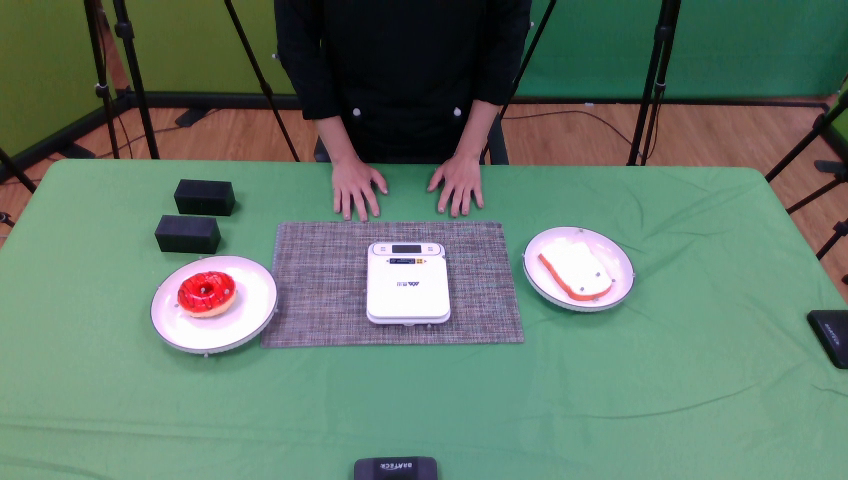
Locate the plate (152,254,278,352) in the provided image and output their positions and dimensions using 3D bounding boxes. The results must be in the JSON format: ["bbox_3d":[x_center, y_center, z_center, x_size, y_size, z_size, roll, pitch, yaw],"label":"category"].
[{"bbox_3d":[-0.357,0.111,1.052,0.208,0.039,0.206,2,46,-2],"label":"plate"}]

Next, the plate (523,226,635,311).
[{"bbox_3d":[0.291,0.058,1.151,0.209,0.038,0.208,2,45,-2],"label":"plate"}]

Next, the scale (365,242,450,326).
[{"bbox_3d":[-0.032,0.071,1.113,0.149,0.032,0.199,1,46,-4],"label":"scale"}]

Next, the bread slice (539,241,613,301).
[{"bbox_3d":[0.297,0.058,1.153,0.105,0.019,0.130,-15,50,-18],"label":"bread slice"}]

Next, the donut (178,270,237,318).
[{"bbox_3d":[-0.375,0.092,1.053,0.099,0.048,0.098,1,42,0],"label":"donut"}]
